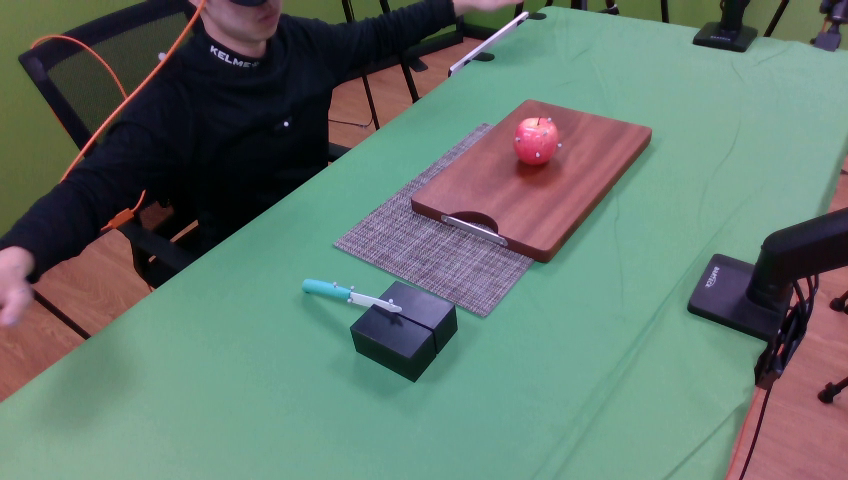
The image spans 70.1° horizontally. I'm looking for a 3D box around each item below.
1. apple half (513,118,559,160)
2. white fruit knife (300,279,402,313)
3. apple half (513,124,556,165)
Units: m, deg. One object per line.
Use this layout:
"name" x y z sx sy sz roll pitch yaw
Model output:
"apple half" 0.203 -0.180 1.067 0.080 0.075 0.053 12 40 27
"white fruit knife" -0.107 0.078 0.847 0.205 0.027 0.016 8 41 38
"apple half" 0.185 -0.157 1.041 0.081 0.081 0.033 14 41 24
